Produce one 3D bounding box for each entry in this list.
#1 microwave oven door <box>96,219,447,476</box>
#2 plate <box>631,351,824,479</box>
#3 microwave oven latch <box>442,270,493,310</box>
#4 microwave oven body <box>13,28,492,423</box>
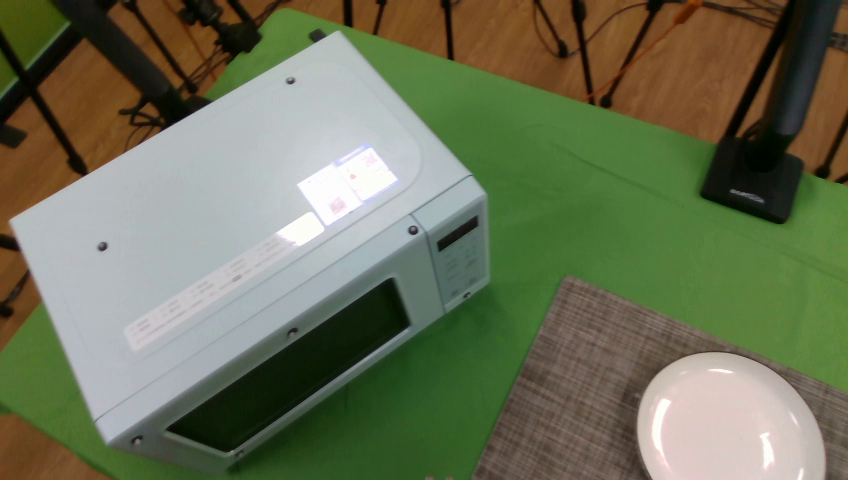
[{"bbox_3d":[-0.137,0.132,0.683,0.356,0.246,0.039,-34,64,-10],"label":"microwave oven door"},{"bbox_3d":[0.346,0.235,0.707,0.207,0.039,0.206,-2,63,5],"label":"plate"},{"bbox_3d":[0.055,0.059,0.812,0.079,0.030,0.030,-32,65,-9],"label":"microwave oven latch"},{"bbox_3d":[-0.184,0.008,0.756,0.442,0.262,0.323,-34,65,-10],"label":"microwave oven body"}]
